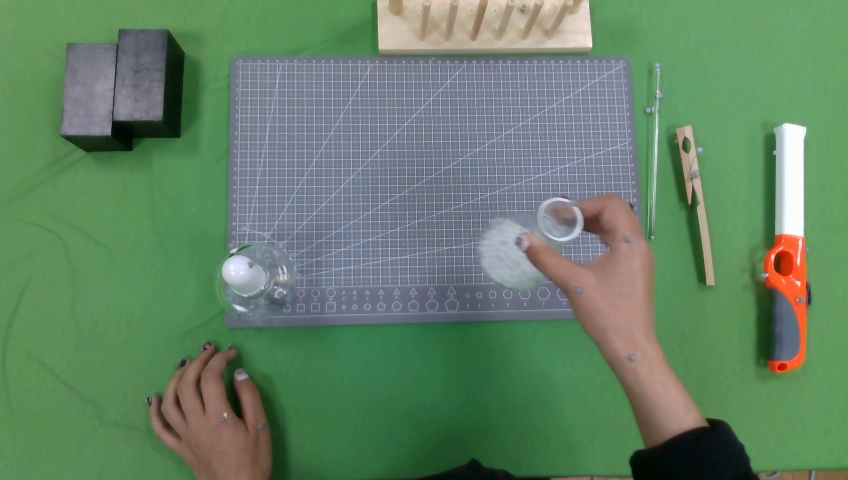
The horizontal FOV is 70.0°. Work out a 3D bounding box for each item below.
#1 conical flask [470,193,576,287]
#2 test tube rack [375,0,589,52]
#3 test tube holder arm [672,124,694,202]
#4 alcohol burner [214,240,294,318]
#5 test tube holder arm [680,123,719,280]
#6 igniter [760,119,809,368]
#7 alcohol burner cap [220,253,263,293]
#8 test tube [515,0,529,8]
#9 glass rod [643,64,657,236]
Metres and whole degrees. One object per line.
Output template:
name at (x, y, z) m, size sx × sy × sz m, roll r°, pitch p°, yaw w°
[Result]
conical flask at (0.088, -0.004, 0.515) m, size 0.075 × 0.122 × 0.075 m, roll 2°, pitch 77°, yaw -9°
test tube rack at (0.067, -0.256, 0.658) m, size 0.242 × 0.085 × 0.066 m, roll -2°, pitch 81°, yaw -3°
test tube holder arm at (0.292, -0.086, 0.679) m, size 0.010 × 0.015 × 0.087 m, roll -13°, pitch 81°, yaw 31°
alcohol burner at (-0.168, 0.035, 0.582) m, size 0.078 × 0.119 × 0.077 m, roll 0°, pitch 80°, yaw -1°
test tube holder arm at (0.304, -0.043, 0.670) m, size 0.013 × 0.015 × 0.177 m, roll -14°, pitch 80°, yaw 31°
igniter at (0.397, 0.002, 0.666) m, size 0.057 × 0.025 × 0.275 m, roll 8°, pitch 81°, yaw -12°
alcohol burner cap at (-0.167, 0.028, 0.547) m, size 0.034 × 0.048 × 0.033 m, roll 1°, pitch 72°, yaw -2°
test tube at (0.109, -0.283, 0.614) m, size 0.017 × 0.151 × 0.017 m, roll 0°, pitch 79°, yaw 1°
glass rod at (0.255, -0.103, 0.683) m, size 0.008 × 0.008 × 0.199 m, roll 5°, pitch 83°, yaw -3°
